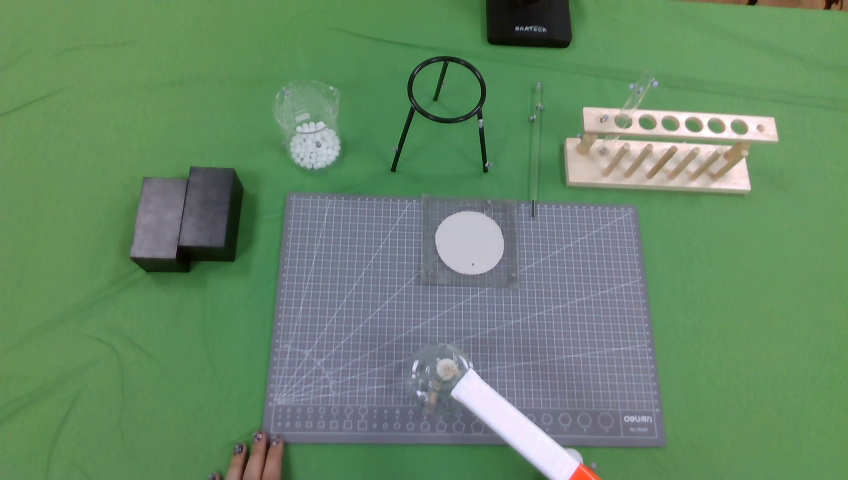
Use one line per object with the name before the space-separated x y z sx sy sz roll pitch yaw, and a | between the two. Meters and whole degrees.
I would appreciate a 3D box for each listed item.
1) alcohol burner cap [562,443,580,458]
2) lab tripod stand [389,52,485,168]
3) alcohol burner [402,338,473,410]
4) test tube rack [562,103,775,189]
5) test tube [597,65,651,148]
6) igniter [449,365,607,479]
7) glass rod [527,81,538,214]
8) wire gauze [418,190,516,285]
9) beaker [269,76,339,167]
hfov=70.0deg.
alcohol burner cap | 0.152 0.236 0.658 0.034 0.048 0.033 1 68 -3
lab tripod stand | 0.018 -0.156 0.741 0.148 0.132 0.147 1 69 -2
alcohol burner | 0.016 0.139 0.641 0.078 0.120 0.077 2 68 -5
test tube rack | 0.308 -0.118 0.775 0.242 0.085 0.066 2 69 -3
test tube | 0.239 -0.156 0.731 0.017 0.151 0.017 1 66 -2
igniter | 0.136 0.215 0.544 0.275 0.025 0.057 40 74 9
glass rod | 0.145 -0.126 0.805 0.008 0.008 0.198 7 71 -2
wire gauze | 0.053 -0.006 0.753 0.125 0.011 0.120 3 69 -2
beaker | -0.140 -0.142 0.741 0.084 0.101 0.073 -36 76 -16
